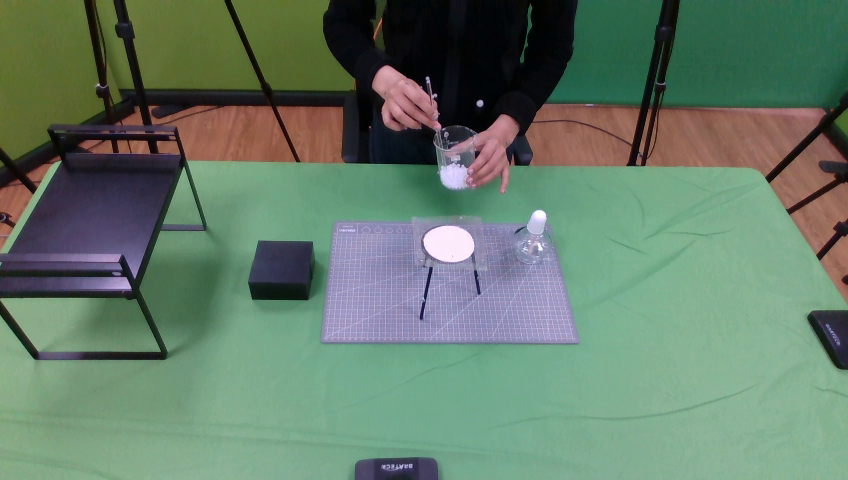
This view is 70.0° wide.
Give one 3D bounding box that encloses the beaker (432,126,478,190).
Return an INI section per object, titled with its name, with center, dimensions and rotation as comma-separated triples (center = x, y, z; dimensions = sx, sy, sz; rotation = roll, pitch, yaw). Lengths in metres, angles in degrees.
[beaker]
center = 0.061, -0.149, 1.110
dimensions = 0.084, 0.101, 0.073
rotation = -17, 47, -7

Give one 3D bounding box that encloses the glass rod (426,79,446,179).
[glass rod]
center = 0.022, -0.191, 1.068
dimensions = 0.008, 0.201, 0.008
rotation = -7, 40, 6

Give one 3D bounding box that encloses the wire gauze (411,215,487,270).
[wire gauze]
center = 0.041, 0.002, 1.026
dimensions = 0.125, 0.011, 0.120
rotation = 1, 46, -3

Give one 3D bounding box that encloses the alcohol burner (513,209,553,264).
[alcohol burner]
center = 0.210, -0.012, 1.159
dimensions = 0.078, 0.120, 0.077
rotation = 1, 45, -1

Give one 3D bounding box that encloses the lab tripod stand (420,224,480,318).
[lab tripod stand]
center = 0.034, 0.051, 1.070
dimensions = 0.148, 0.132, 0.147
rotation = 3, 48, -3

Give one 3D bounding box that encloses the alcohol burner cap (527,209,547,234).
[alcohol burner cap]
center = 0.214, -0.038, 1.134
dimensions = 0.034, 0.048, 0.033
rotation = 3, 51, -3
